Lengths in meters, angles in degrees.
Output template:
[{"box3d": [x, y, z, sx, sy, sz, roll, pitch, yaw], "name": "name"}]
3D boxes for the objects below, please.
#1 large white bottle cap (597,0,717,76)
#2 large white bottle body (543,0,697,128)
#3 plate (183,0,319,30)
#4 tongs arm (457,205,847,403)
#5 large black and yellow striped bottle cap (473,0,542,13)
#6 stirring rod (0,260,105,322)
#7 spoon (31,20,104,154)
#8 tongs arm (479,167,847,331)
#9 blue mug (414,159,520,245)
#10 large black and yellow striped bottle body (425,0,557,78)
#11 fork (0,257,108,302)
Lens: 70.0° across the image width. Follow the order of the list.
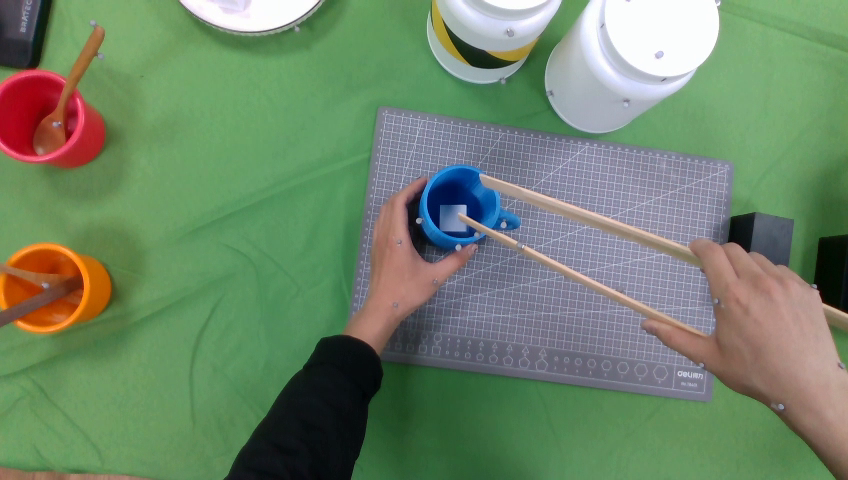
[{"box3d": [0.223, -0.215, 0.581, 0.115, 0.018, 0.114, 0, 86, -6], "name": "large white bottle cap"}, {"box3d": [0.216, -0.208, 0.664, 0.131, 0.184, 0.130, 0, 86, -5], "name": "large white bottle body"}, {"box3d": [-0.202, -0.344, 0.707, 0.208, 0.039, 0.207, 0, 87, -5], "name": "plate"}, {"box3d": [0.197, 0.039, 0.515, 0.382, 0.027, 0.050, 30, 80, 25], "name": "tongs arm"}, {"box3d": [0.079, -0.274, 0.572, 0.115, 0.019, 0.115, 0, 88, -6], "name": "large black and yellow striped bottle cap"}, {"box3d": [-0.406, 0.063, 0.614, 0.014, 0.006, 0.176, 55, 41, -3], "name": "stirring rod"}, {"box3d": [-0.370, -0.154, 0.627, 0.194, 0.021, 0.041, -38, 86, 37], "name": "spoon"}, {"box3d": [0.212, 0.015, 0.520, 0.384, 0.028, 0.028, 27, 75, 24], "name": "tongs arm"}, {"box3d": [0.049, -0.035, 0.676, 0.117, 0.106, 0.082, 14, 85, -5], "name": "blue mug"}, {"box3d": [0.072, -0.266, 0.654, 0.131, 0.184, 0.130, 0, 86, -5], "name": "large black and yellow striped bottle body"}, {"box3d": [-0.423, 0.022, 0.609, 0.209, 0.018, 0.028, 32, 80, -46], "name": "fork"}]
